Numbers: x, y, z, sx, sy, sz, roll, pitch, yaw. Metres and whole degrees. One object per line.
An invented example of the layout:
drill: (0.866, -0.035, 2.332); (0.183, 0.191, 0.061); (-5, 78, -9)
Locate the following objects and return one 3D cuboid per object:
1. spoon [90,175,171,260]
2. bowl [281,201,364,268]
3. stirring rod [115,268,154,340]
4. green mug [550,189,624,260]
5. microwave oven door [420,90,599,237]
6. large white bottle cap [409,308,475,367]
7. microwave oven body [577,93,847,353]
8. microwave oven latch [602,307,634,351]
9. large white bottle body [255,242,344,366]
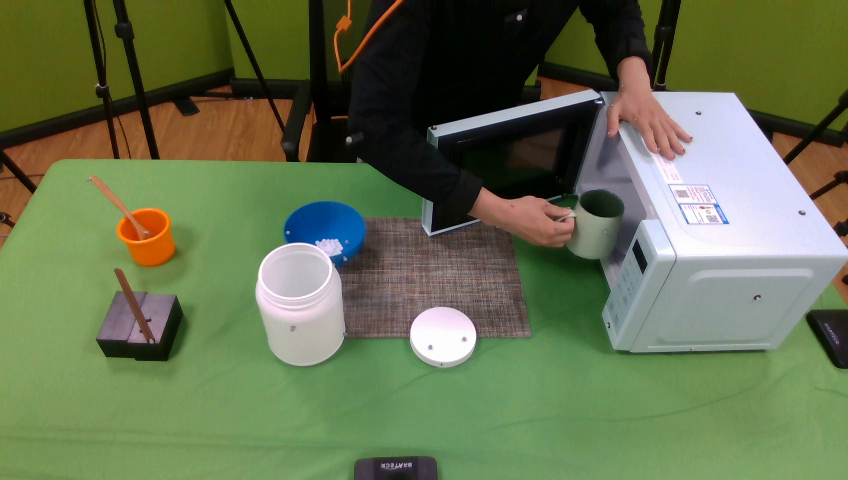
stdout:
spoon: (-0.539, -0.042, 1.111); (0.021, 0.194, 0.041); (-13, 27, 53)
bowl: (-0.187, 0.005, 1.138); (0.151, 0.077, 0.150); (3, 46, -3)
stirring rod: (-0.479, 0.102, 0.999); (0.014, 0.006, 0.175); (8, 32, -49)
green mug: (0.288, -0.025, 1.083); (0.125, 0.105, 0.092); (-5, 46, -9)
microwave oven door: (0.165, -0.149, 1.184); (0.356, 0.245, 0.039); (-17, 49, -19)
large white bottle cap: (0.031, 0.166, 1.041); (0.115, 0.018, 0.114); (2, 46, -2)
microwave oven body: (0.475, -0.041, 1.109); (0.326, 0.261, 0.438); (-1, 45, -4)
microwave oven latch: (0.332, 0.153, 1.044); (0.030, 0.029, 0.078); (0, 45, -4)
large white bottle body: (-0.196, 0.102, 0.967); (0.131, 0.185, 0.130); (2, 49, -2)
